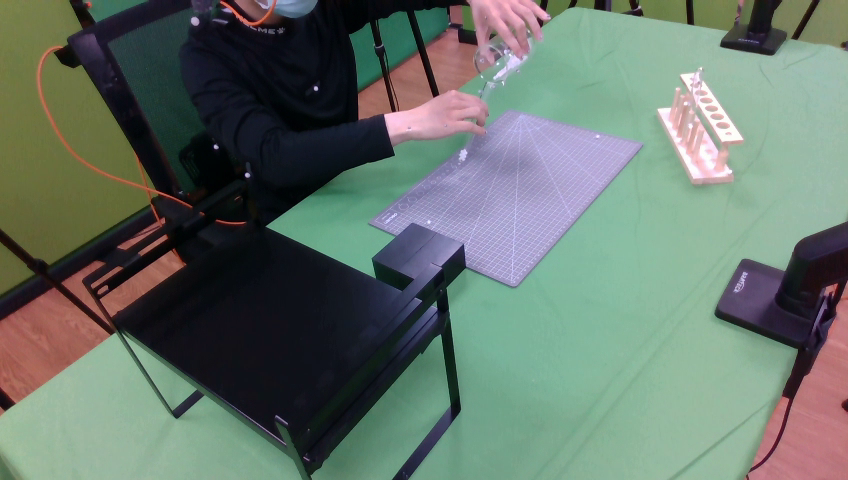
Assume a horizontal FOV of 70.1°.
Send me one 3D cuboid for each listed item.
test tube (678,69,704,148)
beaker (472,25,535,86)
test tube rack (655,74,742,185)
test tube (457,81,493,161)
[{"bbox_3d":[0.465,-0.228,1.054,0.017,0.151,0.017,-4,41,4],"label":"test tube"},{"bbox_3d":[0.148,-0.335,1.090,0.100,0.084,0.073,-43,19,-30],"label":"beaker"},{"bbox_3d":[0.488,-0.205,1.093,0.067,0.085,0.241,-3,41,5],"label":"test tube rack"},{"bbox_3d":[0.091,-0.214,1.096,0.017,0.150,0.017,20,9,-3],"label":"test tube"}]
